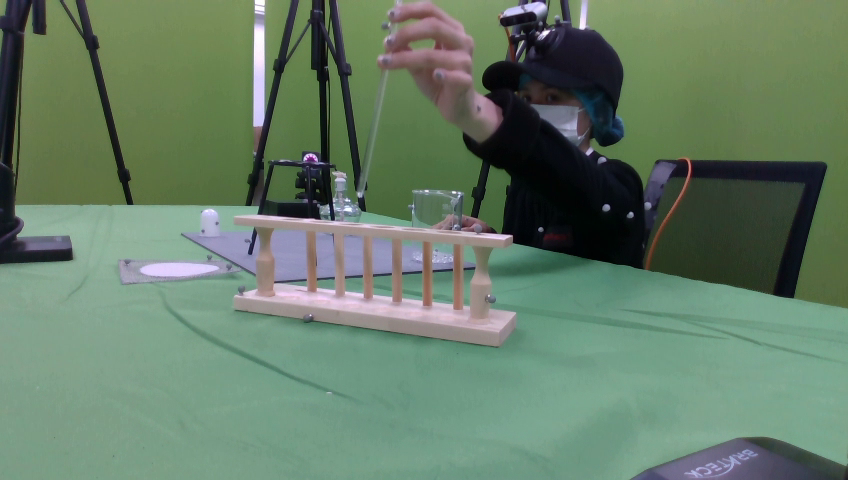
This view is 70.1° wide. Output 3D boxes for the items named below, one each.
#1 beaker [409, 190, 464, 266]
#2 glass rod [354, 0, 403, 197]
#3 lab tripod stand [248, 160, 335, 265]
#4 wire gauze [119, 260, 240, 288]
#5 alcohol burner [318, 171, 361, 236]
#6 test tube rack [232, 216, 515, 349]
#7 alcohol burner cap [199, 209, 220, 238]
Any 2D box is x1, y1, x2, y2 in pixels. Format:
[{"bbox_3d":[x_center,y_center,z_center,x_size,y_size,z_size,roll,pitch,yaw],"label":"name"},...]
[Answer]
[{"bbox_3d":[0.018,-0.017,0.840,0.074,0.100,0.083,-3,9,-35],"label":"beaker"},{"bbox_3d":[-0.039,-0.135,0.536,0.008,0.199,0.008,12,-1,1],"label":"glass rod"},{"bbox_3d":[-0.165,-0.041,0.817,0.148,0.131,0.148,5,7,0],"label":"lab tripod stand"},{"bbox_3d":[-0.288,0.034,0.706,0.122,0.011,0.124,-3,10,-29],"label":"wire gauze"},{"bbox_3d":[-0.155,-0.066,1.104,0.078,0.119,0.078,1,8,0],"label":"alcohol burner"},{"bbox_3d":[-0.045,0.029,0.525,0.241,0.085,0.067,5,7,19],"label":"test tube rack"},{"bbox_3d":[-0.356,-0.027,1.002,0.034,0.048,0.034,2,7,0],"label":"alcohol burner cap"}]
